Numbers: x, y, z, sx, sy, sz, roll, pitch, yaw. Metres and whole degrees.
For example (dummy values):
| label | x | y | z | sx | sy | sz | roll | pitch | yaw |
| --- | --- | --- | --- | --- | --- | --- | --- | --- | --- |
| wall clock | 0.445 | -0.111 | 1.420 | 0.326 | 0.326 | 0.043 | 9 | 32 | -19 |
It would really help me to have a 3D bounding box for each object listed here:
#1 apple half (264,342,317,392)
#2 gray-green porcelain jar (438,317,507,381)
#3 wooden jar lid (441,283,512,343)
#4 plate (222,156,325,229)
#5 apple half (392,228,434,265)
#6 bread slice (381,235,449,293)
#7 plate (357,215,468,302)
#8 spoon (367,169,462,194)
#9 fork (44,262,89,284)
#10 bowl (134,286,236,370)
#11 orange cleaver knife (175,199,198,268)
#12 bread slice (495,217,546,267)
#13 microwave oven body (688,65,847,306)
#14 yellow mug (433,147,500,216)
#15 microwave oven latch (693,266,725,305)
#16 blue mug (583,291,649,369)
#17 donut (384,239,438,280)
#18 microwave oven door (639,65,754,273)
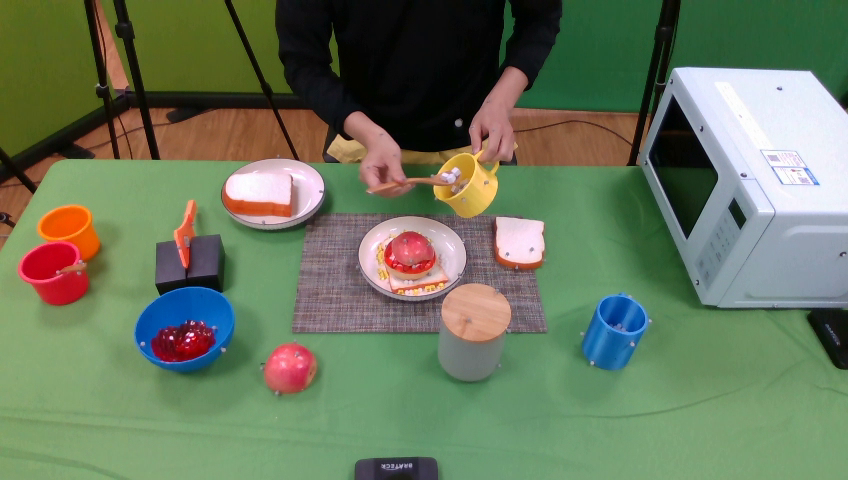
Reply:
| label | x | y | z | sx | sy | sz | roll | pitch | yaw |
| --- | --- | --- | --- | --- | --- | --- | --- | --- | --- |
| apple half | -0.214 | 0.198 | 0.970 | 0.074 | 0.053 | 0.080 | 19 | 48 | 11 |
| gray-green porcelain jar | 0.076 | 0.158 | 0.977 | 0.106 | 0.127 | 0.105 | 2 | 47 | -2 |
| wooden jar lid | 0.080 | 0.114 | 0.931 | 0.108 | 0.021 | 0.107 | 1 | 49 | 0 |
| plate | -0.308 | -0.095 | 1.251 | 0.209 | 0.038 | 0.208 | 2 | 47 | -2 |
| apple half | -0.020 | 0.004 | 1.084 | 0.081 | 0.033 | 0.081 | 6 | 51 | -7 |
| bread slice | -0.026 | 0.040 | 1.142 | 0.107 | 0.018 | 0.133 | -12 | 50 | -15 |
| plate | -0.022 | 0.037 | 1.141 | 0.208 | 0.039 | 0.206 | 2 | 46 | -2 |
| spoon | -0.014 | -0.099 | 1.018 | 0.194 | 0.022 | 0.041 | -11 | 37 | -37 |
| fork | -0.599 | 0.054 | 1.014 | 0.207 | 0.019 | 0.028 | -15 | 29 | 45 |
| bowl | -0.377 | 0.155 | 0.981 | 0.151 | 0.077 | 0.150 | 2 | 46 | -2 |
| orange cleaver knife | -0.438 | -0.017 | 1.138 | 0.012 | 0.077 | 0.210 | -14 | 27 | -7 |
| bread slice | 0.194 | 0.002 | 1.205 | 0.105 | 0.019 | 0.131 | 5 | 45 | 3 |
| microwave oven body | 0.669 | -0.111 | 1.176 | 0.326 | 0.261 | 0.439 | 0 | 46 | -3 |
| yellow mug | 0.084 | -0.113 | 1.086 | 0.131 | 0.064 | 0.099 | -47 | 38 | 8 |
| microwave oven latch | 0.523 | 0.082 | 1.115 | 0.030 | 0.029 | 0.078 | 3 | 46 | 0 |
| blue mug | 0.324 | 0.142 | 1.023 | 0.082 | 0.106 | 0.116 | 15 | 47 | 11 |
| donut | -0.025 | 0.030 | 1.110 | 0.099 | 0.048 | 0.098 | 2 | 46 | -2 |
| microwave oven door | 0.522 | -0.147 | 1.193 | 0.039 | 0.245 | 0.353 | 0 | 47 | -3 |
